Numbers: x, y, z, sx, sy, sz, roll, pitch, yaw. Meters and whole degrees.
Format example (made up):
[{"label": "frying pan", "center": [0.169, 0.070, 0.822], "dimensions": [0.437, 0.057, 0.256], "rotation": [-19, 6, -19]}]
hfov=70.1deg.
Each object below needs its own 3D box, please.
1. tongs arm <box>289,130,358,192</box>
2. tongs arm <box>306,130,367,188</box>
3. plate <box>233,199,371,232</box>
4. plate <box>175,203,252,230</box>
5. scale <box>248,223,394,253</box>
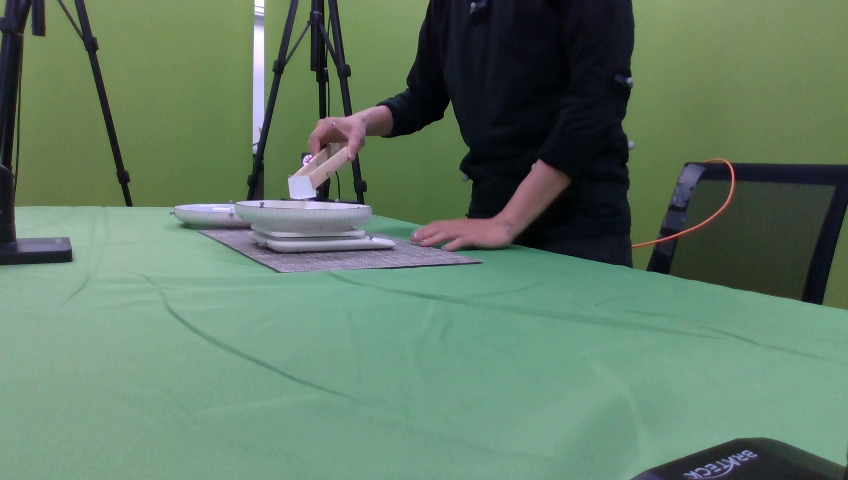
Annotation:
[{"label": "tongs arm", "center": [-0.175, -0.154, 1.122], "dimensions": [0.051, 0.026, 0.384], "rotation": [-12, 18, 8]}, {"label": "tongs arm", "center": [-0.154, -0.158, 1.117], "dimensions": [0.028, 0.028, 0.387], "rotation": [-14, 18, 13]}, {"label": "plate", "center": [-0.188, -0.039, 0.939], "dimensions": [0.209, 0.038, 0.209], "rotation": [3, 7, 0]}, {"label": "plate", "center": [-0.381, -0.047, 1.199], "dimensions": [0.208, 0.039, 0.207], "rotation": [3, 7, 0]}, {"label": "scale", "center": [-0.162, -0.006, 0.954], "dimensions": [0.202, 0.031, 0.148], "rotation": [-2, 8, -32]}]
